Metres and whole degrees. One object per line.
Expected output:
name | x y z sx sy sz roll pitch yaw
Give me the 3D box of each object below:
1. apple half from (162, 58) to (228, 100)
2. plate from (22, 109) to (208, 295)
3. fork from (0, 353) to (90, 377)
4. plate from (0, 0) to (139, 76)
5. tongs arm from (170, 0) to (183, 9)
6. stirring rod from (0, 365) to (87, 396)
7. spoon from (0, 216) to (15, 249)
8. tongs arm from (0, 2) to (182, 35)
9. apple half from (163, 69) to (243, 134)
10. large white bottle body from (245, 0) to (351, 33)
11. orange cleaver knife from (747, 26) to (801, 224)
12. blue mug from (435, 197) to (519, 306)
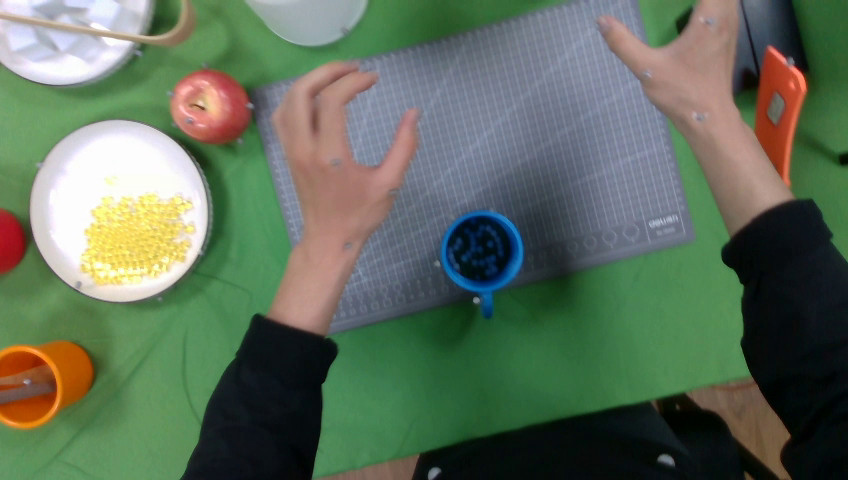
apple half | -0.253 -0.178 0.662 0.081 0.081 0.033 -30 97 4
plate | -0.347 -0.043 0.693 0.209 0.038 0.209 0 94 2
fork | -0.479 0.147 0.654 0.209 0.018 0.028 -1 93 -41
plate | -0.416 -0.287 0.678 0.207 0.039 0.208 0 94 2
tongs arm | -0.425 -0.347 0.644 0.387 0.028 0.028 27 88 2
stirring rod | -0.465 0.163 0.657 0.177 0.006 0.014 -9 82 -38
spoon | -0.556 0.002 0.650 0.194 0.021 0.041 -10 93 -41
tongs arm | -0.452 -0.267 0.648 0.384 0.026 0.051 13 91 3
apple half | -0.234 -0.144 0.665 0.081 0.074 0.053 -30 96 0
large white bottle body | -0.142 -0.294 0.596 0.130 0.184 0.130 0 93 2
orange cleaver knife | 0.363 -0.115 0.640 0.012 0.076 0.213 -16 124 3
blue mug | 0.057 0.013 0.647 0.082 0.106 0.116 -7 93 3
